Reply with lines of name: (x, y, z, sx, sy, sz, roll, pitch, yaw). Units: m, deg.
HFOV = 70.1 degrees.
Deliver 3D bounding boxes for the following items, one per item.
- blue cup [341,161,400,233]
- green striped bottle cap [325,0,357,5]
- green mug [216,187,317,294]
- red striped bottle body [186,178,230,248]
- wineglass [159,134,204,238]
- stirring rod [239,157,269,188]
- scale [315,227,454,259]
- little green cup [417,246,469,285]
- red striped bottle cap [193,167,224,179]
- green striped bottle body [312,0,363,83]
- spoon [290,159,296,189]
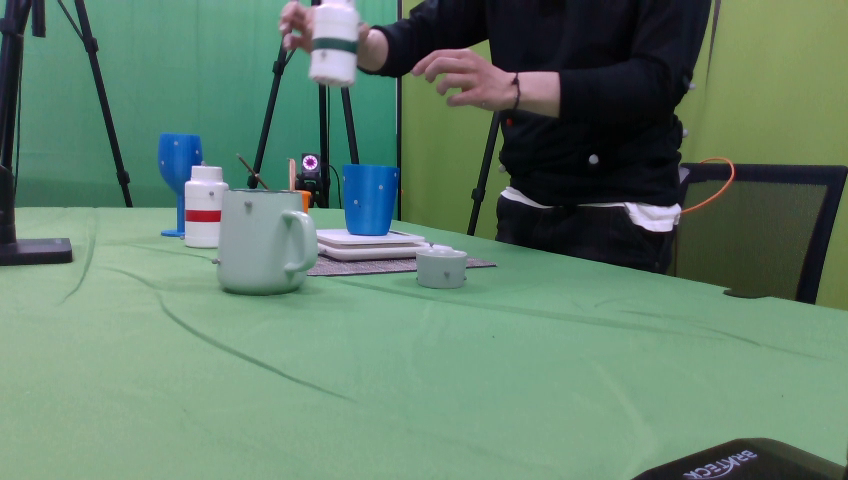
blue cup: (-0.080, -0.062, 0.883, 0.093, 0.100, 0.092, 3, 4, 0)
green striped bottle cap: (-0.115, -0.337, 0.842, 0.044, 0.020, 0.044, 6, 4, 0)
green mug: (-0.157, 0.000, 0.629, 0.124, 0.105, 0.093, 7, 9, 37)
red striped bottle body: (-0.331, -0.050, 0.927, 0.063, 0.119, 0.063, 2, 6, 0)
wineglass: (-0.416, -0.093, 1.040, 0.074, 0.172, 0.073, 2, 7, 0)
stirring rod: (-0.309, -0.098, 1.209, 0.006, 0.177, 0.014, -39, 29, -4)
scale: (-0.066, 0.001, 0.906, 0.202, 0.031, 0.148, -2, 8, -31)
little green cup: (0.021, 0.029, 0.701, 0.061, 0.038, 0.061, 1, 6, 0)
red striped bottle cap: (-0.329, -0.103, 0.921, 0.044, 0.017, 0.044, -1, 9, 0)
green striped bottle body: (-0.120, -0.285, 0.847, 0.063, 0.119, 0.063, 6, 4, 0)
spoon: (-0.273, -0.102, 1.252, 0.042, 0.193, 0.021, 7, -38, -17)
